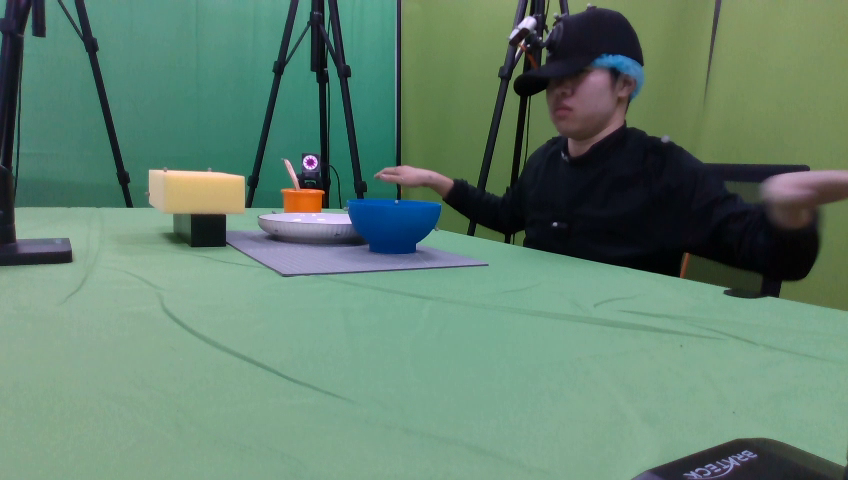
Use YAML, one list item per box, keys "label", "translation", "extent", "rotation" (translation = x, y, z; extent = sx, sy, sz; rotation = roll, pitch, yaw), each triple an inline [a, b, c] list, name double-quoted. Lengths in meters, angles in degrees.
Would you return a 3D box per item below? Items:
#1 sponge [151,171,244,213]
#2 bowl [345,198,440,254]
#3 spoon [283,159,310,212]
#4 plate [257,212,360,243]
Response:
- label: "sponge"
  translation: [-0.383, -0.082, 1.010]
  extent: [0.119, 0.061, 0.206]
  rotation: [-1, 7, -30]
- label: "bowl"
  translation: [-0.051, -0.022, 0.952]
  extent: [0.151, 0.077, 0.151]
  rotation: [3, 7, 0]
- label: "spoon"
  translation: [-0.279, -0.111, 1.324]
  extent: [0.042, 0.193, 0.021]
  rotation: [3, -39, -35]
- label: "plate"
  translation: [-0.189, -0.023, 1.072]
  extent: [0.209, 0.038, 0.209]
  rotation: [3, 7, 0]
